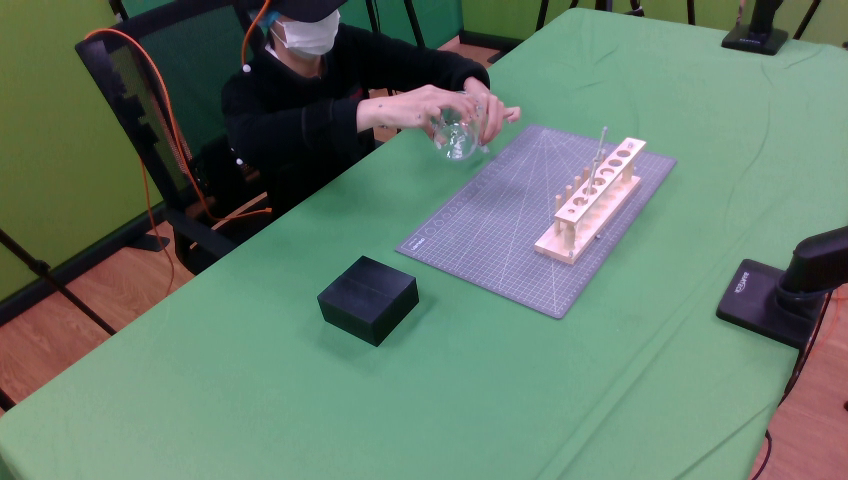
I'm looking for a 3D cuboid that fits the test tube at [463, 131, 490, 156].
[{"bbox_3d":[0.096,-0.170,1.077,0.017,0.017,0.151,8,0,19],"label":"test tube"}]

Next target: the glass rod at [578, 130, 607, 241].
[{"bbox_3d":[0.240,-0.071,0.866,0.008,0.200,0.008,0,43,1],"label":"glass rod"}]

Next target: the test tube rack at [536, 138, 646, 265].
[{"bbox_3d":[0.268,-0.071,0.964,0.066,0.085,0.243,23,49,32],"label":"test tube rack"}]

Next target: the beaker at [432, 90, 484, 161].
[{"bbox_3d":[0.054,-0.175,0.950,0.073,0.084,0.100,-9,37,19],"label":"beaker"}]
